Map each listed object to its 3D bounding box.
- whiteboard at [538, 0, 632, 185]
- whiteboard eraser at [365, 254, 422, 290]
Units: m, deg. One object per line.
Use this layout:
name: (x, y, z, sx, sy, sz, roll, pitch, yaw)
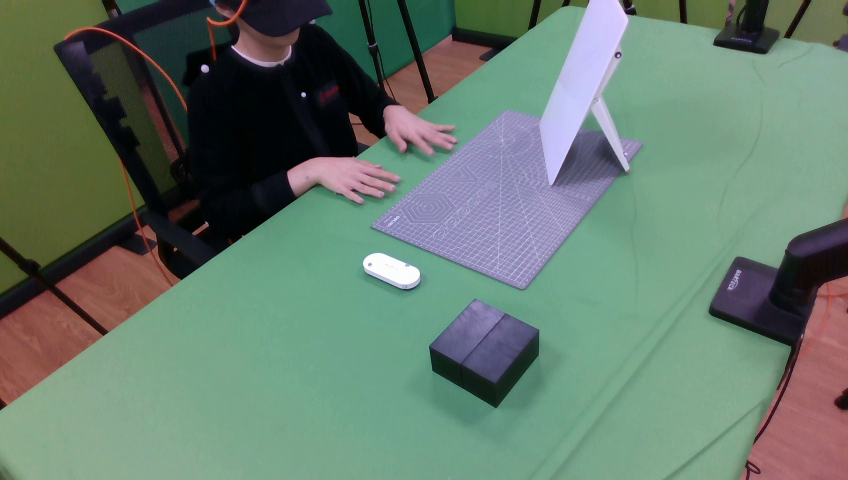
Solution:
whiteboard: (0.327, -0.259, 1.055, 0.144, 0.305, 0.216, 13, 40, -6)
whiteboard eraser: (-0.047, 0.048, 0.931, 0.100, 0.019, 0.041, 21, 49, 31)
